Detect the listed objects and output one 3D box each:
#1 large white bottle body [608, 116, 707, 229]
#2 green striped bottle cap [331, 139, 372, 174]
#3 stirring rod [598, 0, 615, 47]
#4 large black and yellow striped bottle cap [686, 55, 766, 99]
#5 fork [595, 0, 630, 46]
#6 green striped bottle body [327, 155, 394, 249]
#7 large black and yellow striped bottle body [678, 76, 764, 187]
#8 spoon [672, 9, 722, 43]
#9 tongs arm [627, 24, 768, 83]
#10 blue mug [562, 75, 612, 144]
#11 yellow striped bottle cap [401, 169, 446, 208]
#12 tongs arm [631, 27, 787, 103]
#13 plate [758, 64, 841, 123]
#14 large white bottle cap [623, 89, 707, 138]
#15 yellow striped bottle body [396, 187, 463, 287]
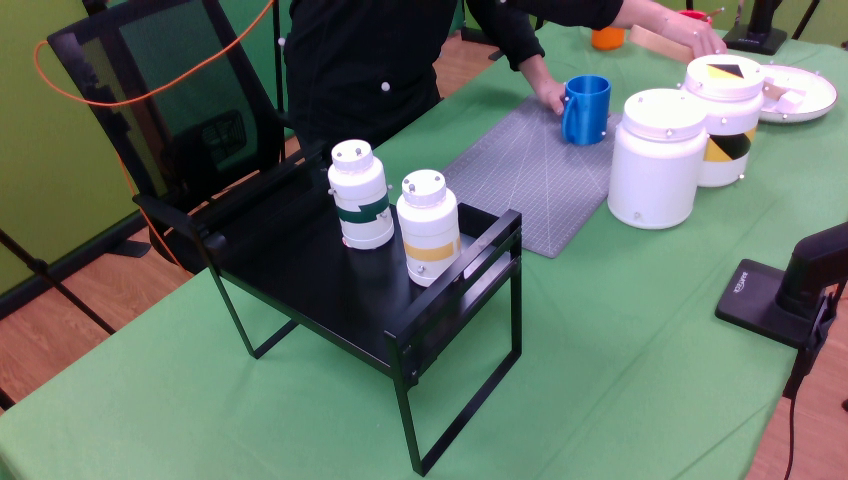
[{"bbox_3d":[0.361,-0.123,0.942,0.130,0.185,0.130,-5,41,4],"label":"large white bottle body"},{"bbox_3d":[-0.080,-0.092,0.665,0.044,0.020,0.044,-3,40,3],"label":"green striped bottle cap"},{"bbox_3d":[0.437,-0.551,1.462,0.014,0.006,0.175,-11,83,1],"label":"stirring rod"},{"bbox_3d":[0.474,-0.258,0.952,0.115,0.019,0.114,-5,41,5],"label":"large black and yellow striped bottle cap"},{"bbox_3d":[0.480,-0.556,1.452,0.028,0.019,0.207,41,103,40],"label":"fork"},{"bbox_3d":[-0.073,-0.053,0.699,0.063,0.120,0.063,-5,41,4],"label":"green striped bottle body"},{"bbox_3d":[0.482,-0.196,1.008,0.131,0.185,0.130,-4,41,4],"label":"large black and yellow striped bottle body"},{"bbox_3d":[0.606,-0.476,1.345,0.042,0.021,0.193,-6,-3,-2],"label":"spoon"},{"bbox_3d":[0.508,-0.318,1.091,0.388,0.026,0.050,10,30,-26],"label":"tongs arm"},{"bbox_3d":[0.298,-0.239,1.144,0.117,0.106,0.081,-36,48,-29],"label":"blue mug"},{"bbox_3d":[0.000,-0.052,0.605,0.044,0.019,0.044,-4,42,4],"label":"yellow striped bottle cap"},{"bbox_3d":[0.518,-0.302,1.069,0.391,0.028,0.028,9,34,-28],"label":"tongs arm"},{"bbox_3d":[0.694,-0.283,1.189,0.207,0.039,0.206,-4,40,4],"label":"plate"},{"bbox_3d":[0.352,-0.187,0.886,0.115,0.018,0.114,-4,41,4],"label":"large white bottle cap"},{"bbox_3d":[0.006,-0.013,0.638,0.063,0.121,0.062,-5,41,5],"label":"yellow striped bottle body"}]
